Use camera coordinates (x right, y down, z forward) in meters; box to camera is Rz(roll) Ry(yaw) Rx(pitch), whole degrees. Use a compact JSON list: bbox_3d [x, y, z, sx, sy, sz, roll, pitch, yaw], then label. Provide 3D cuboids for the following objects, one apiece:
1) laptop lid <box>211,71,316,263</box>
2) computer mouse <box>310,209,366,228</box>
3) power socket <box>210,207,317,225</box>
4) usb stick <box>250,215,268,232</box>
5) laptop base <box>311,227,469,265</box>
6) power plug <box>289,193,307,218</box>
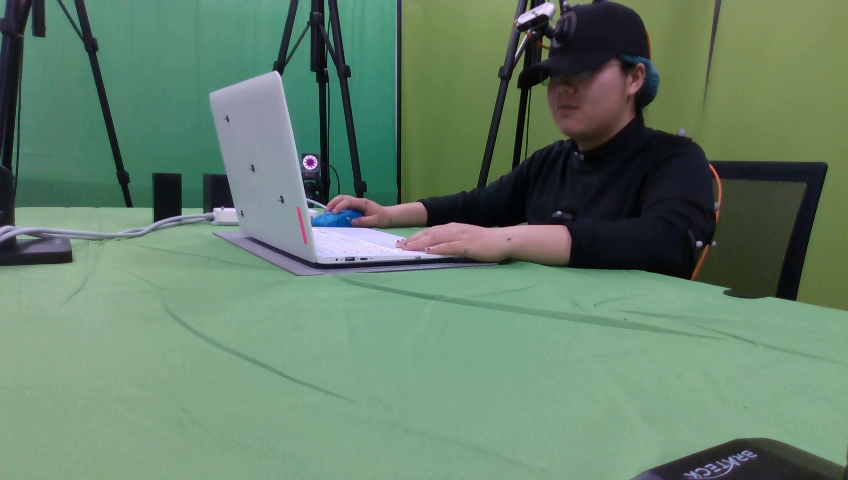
[{"bbox_3d":[-0.240,-0.104,0.861,0.013,0.241,0.355,-16,17,-29],"label":"laptop lid"},{"bbox_3d":[-0.181,-0.042,1.264,0.118,0.041,0.062,-7,14,-37],"label":"computer mouse"},{"bbox_3d":[-0.334,-0.051,1.281,0.228,0.032,0.072,-1,8,-28],"label":"power socket"},{"bbox_3d":[-0.290,-0.028,1.069,0.021,0.027,0.059,-1,11,-30],"label":"usb stick"},{"bbox_3d":[-0.123,0.007,0.951,0.237,0.023,0.352,2,6,-32],"label":"laptop base"},{"bbox_3d":[-0.281,-0.076,1.340,0.035,0.052,0.072,3,6,-18],"label":"power plug"}]
